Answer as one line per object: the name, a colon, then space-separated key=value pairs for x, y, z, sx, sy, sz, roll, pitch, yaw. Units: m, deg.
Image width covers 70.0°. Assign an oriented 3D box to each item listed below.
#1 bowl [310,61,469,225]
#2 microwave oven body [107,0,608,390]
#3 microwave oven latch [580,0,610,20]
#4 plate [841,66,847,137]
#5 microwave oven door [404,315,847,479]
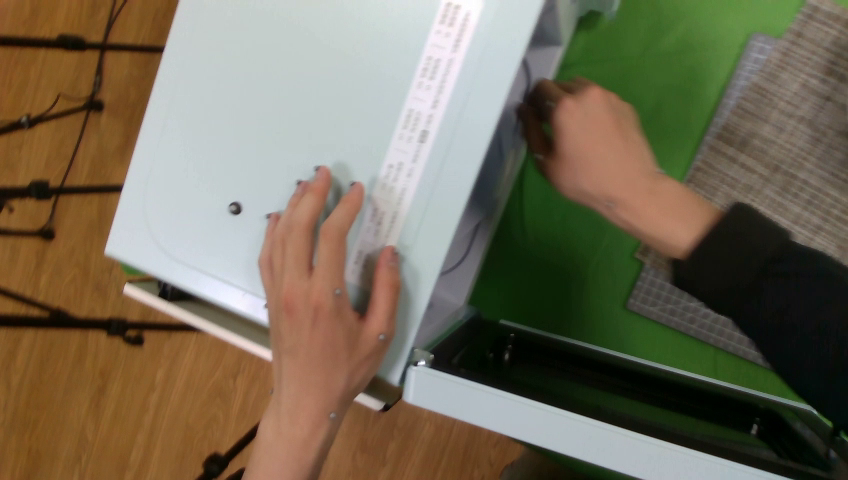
bowl: x=-0.025 y=-0.089 z=0.589 sx=0.151 sy=0.077 sz=0.151 roll=0 pitch=92 yaw=13
microwave oven body: x=-0.039 y=-0.145 z=0.559 sx=0.325 sy=0.260 sz=0.442 roll=21 pitch=98 yaw=12
microwave oven latch: x=0.179 y=-0.262 z=0.598 sx=0.030 sy=0.029 sz=0.079 roll=21 pitch=98 yaw=12
plate: x=0.486 y=-0.128 z=0.540 sx=0.208 sy=0.038 sz=0.209 roll=0 pitch=91 yaw=14
microwave oven door: x=0.183 y=0.143 z=0.511 sx=0.354 sy=0.244 sz=0.039 roll=13 pitch=95 yaw=14
